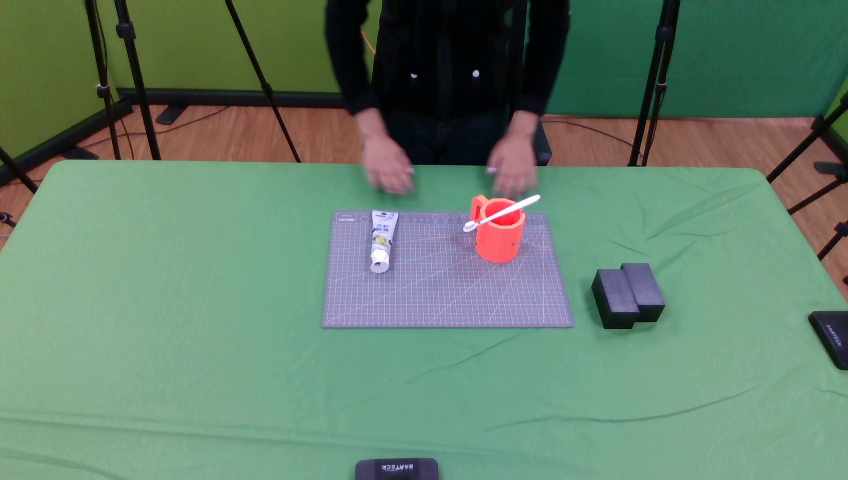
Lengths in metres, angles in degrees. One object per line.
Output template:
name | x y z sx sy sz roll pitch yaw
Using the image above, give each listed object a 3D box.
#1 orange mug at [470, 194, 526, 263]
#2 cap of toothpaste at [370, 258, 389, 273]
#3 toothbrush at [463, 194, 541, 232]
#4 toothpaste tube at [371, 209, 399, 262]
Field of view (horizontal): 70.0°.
orange mug | 0.136 -0.030 1.180 0.083 0.101 0.125 -26 58 -26
cap of toothpaste | -0.083 0.047 1.132 0.037 0.037 0.011 -7 50 -9
toothbrush | 0.149 -0.054 1.131 0.182 0.017 0.014 -23 47 -24
toothpaste tube | -0.080 -0.008 1.193 0.055 0.034 0.164 8 42 -6
